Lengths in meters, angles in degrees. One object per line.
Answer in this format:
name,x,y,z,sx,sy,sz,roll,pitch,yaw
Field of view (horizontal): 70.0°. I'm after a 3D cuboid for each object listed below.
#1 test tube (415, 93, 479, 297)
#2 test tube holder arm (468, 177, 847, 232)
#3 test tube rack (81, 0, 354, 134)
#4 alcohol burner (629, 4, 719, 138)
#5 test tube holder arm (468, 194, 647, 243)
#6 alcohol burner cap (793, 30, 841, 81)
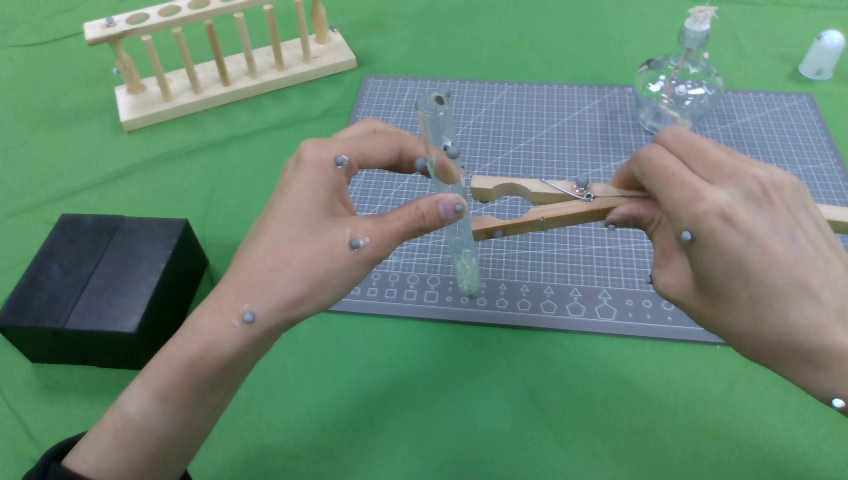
test tube,0.015,-0.014,0.318,0.017,0.152,0.017,-6,52,8
test tube holder arm,0.110,-0.018,0.299,0.178,0.015,0.013,5,67,13
test tube rack,-0.201,-0.195,0.616,0.243,0.086,0.066,-20,51,-14
alcohol burner,0.225,-0.151,0.536,0.078,0.120,0.077,-1,48,1
test tube holder arm,0.066,-0.013,0.305,0.088,0.015,0.010,-11,63,6
alcohol burner cap,0.399,-0.187,0.610,0.034,0.048,0.033,-2,49,3
